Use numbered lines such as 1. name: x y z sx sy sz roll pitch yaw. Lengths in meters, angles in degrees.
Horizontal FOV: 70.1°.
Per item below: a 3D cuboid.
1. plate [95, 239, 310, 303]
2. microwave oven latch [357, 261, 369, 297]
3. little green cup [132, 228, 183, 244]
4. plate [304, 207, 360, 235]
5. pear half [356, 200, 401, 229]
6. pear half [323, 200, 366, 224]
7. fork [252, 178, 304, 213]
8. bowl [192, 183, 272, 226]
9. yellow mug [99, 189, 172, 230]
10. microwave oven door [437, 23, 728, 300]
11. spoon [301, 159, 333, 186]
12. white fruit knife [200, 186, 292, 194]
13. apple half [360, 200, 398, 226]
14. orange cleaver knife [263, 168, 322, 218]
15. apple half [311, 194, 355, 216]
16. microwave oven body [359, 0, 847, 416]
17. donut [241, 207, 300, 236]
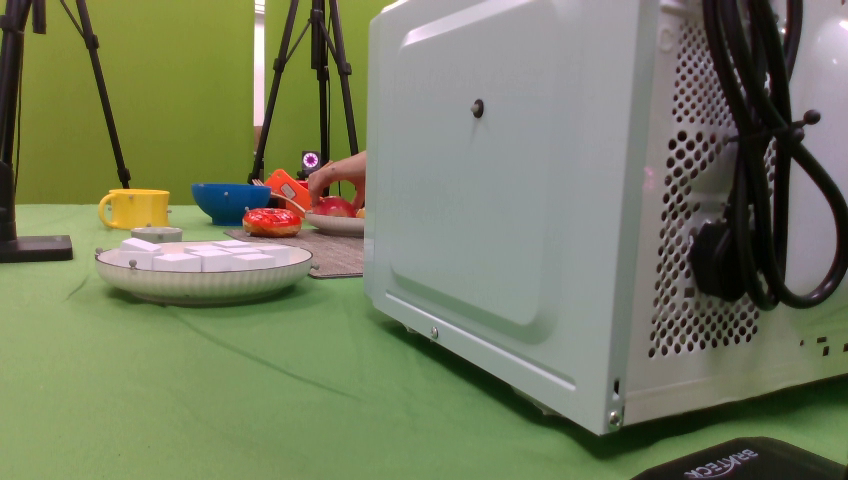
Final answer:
1. plate: -0.224 0.031 0.629 0.208 0.039 0.207 2 7 0
2. microwave oven latch: -0.019 0.033 0.530 0.079 0.029 0.030 -1 7 -26
3. little green cup: -0.342 0.006 0.779 0.061 0.038 0.061 2 8 0
4. plate: -0.123 -0.037 1.149 0.209 0.038 0.209 2 7 0
5. pear half: -0.075 -0.046 1.132 0.076 0.056 0.110 13 6 31
6. pear half: -0.155 -0.059 1.197 0.088 0.031 0.070 15 31 -4
7. fork: -0.295 -0.084 1.292 0.206 0.018 0.028 29 11 25
8. bowl: -0.381 -0.071 1.202 0.151 0.077 0.151 3 7 0
9. yellow mug: -0.518 -0.055 1.080 0.099 0.064 0.131 6 9 26
10. microwave oven door: 0.180 -0.072 0.621 0.358 0.243 0.039 -2 9 -29
11. spoon: -0.316 -0.158 1.639 0.194 0.022 0.041 -49 32 -20
12. white fruit knife: -0.399 -0.111 1.368 0.208 0.016 0.027 -4 -19 -30
13. apple half: -0.087 -0.059 1.190 0.081 0.033 0.081 10 31 -6
14. orange cleaver knife: -0.262 -0.088 1.353 0.211 0.077 0.012 28 13 -1
15. apple half: -0.164 -0.057 1.114 0.081 0.053 0.074 14 11 -13
16. microwave oven body: 0.211 -0.047 0.474 0.444 0.260 0.324 -1 7 -28
17. donut: -0.263 -0.031 1.039 0.099 0.048 0.099 5 10 0
